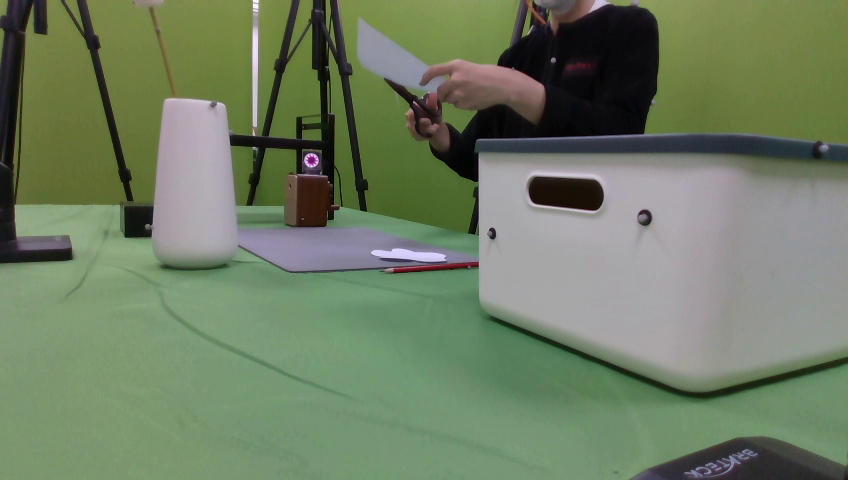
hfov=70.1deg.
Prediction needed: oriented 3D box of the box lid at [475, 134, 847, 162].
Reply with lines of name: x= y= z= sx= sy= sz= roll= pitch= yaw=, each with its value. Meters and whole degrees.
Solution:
box lid: x=0.256 y=-0.073 z=0.528 sx=0.373 sy=0.015 sz=0.262 roll=-2 pitch=8 yaw=-31

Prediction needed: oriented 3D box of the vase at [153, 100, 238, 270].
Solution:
vase: x=-0.278 y=-0.066 z=0.736 sx=0.098 sy=0.200 sz=0.098 roll=2 pitch=9 yaw=0

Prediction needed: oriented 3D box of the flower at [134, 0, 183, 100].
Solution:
flower: x=-0.282 y=-0.147 z=0.713 sx=0.038 sy=0.362 sz=0.044 roll=-23 pitch=24 yaw=-31

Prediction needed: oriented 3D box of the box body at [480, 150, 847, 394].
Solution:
box body: x=0.254 y=0.002 z=0.539 sx=0.366 sy=0.160 sz=0.253 roll=-2 pitch=8 yaw=-31

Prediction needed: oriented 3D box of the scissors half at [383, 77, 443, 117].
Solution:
scissors half: x=-0.017 y=-0.260 z=1.084 sx=0.013 sy=0.040 sz=0.176 roll=8 pitch=-1 yaw=36

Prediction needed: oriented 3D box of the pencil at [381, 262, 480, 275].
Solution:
pencil: x=0.030 y=0.037 z=0.794 sx=0.195 sy=0.012 sz=0.012 roll=-3 pitch=9 yaw=-30

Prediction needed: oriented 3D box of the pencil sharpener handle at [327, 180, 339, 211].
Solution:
pencil sharpener handle: x=-0.194 y=-0.094 z=1.256 sx=0.031 sy=0.067 sz=0.036 roll=-2 pitch=-5 yaw=-36

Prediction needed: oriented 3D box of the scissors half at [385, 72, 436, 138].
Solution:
scissors half: x=-0.025 y=-0.240 z=1.081 sx=0.012 sy=0.040 sz=0.176 roll=14 pitch=-22 yaw=37

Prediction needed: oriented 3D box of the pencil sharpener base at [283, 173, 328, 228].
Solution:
pencil sharpener base: x=-0.239 y=-0.081 z=1.231 sx=0.077 sy=0.107 sz=0.061 roll=-2 pitch=8 yaw=-36
